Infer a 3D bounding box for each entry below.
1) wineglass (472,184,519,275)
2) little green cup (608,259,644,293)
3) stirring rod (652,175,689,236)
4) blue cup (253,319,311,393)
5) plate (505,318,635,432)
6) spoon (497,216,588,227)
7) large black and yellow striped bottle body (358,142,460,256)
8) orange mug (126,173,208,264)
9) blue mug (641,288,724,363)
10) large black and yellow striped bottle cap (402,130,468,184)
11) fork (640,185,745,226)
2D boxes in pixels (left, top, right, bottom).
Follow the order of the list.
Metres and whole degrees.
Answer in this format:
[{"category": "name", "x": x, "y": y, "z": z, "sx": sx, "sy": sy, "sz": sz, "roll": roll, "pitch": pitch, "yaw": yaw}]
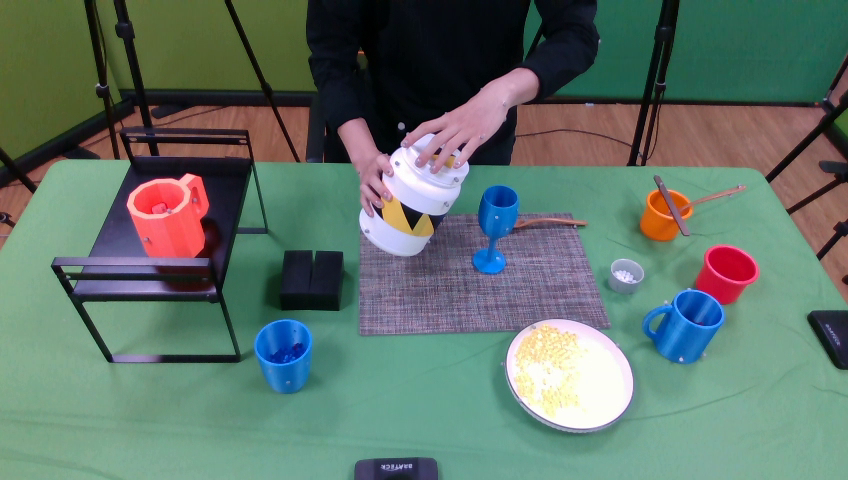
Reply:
[{"category": "wineglass", "x": 0.129, "y": -0.018, "z": 1.113, "sx": 0.074, "sy": 0.173, "sz": 0.073, "roll": 2, "pitch": 46, "yaw": -2}, {"category": "little green cup", "x": 0.379, "y": 0.070, "z": 1.147, "sx": 0.061, "sy": 0.039, "sz": 0.061, "roll": 3, "pitch": 46, "yaw": -3}, {"category": "stirring rod", "x": 0.491, "y": -0.072, "z": 1.211, "sx": 0.014, "sy": 0.006, "sz": 0.175, "roll": 0, "pitch": 46, "yaw": -7}, {"category": "blue cup", "x": -0.217, "y": 0.187, "z": 0.943, "sx": 0.093, "sy": 0.101, "sz": 0.092, "roll": 4, "pitch": 45, "yaw": -3}, {"category": "plate", "x": 0.235, "y": 0.221, "z": 0.991, "sx": 0.209, "sy": 0.038, "sz": 0.208, "roll": 2, "pitch": 45, "yaw": -2}, {"category": "spoon", "x": 0.245, "y": -0.039, "z": 1.247, "sx": 0.194, "sy": 0.022, "sz": 0.041, "roll": -1, "pitch": 25, "yaw": -6}, {"category": "large black and yellow striped bottle body", "x": -0.021, "y": -0.077, "z": 1.030, "sx": 0.131, "sy": 0.184, "sz": 0.130, "roll": 22, "pitch": 35, "yaw": -16}, {"category": "orange mug", "x": -0.371, "y": -0.040, "z": 0.902, "sx": 0.083, "sy": 0.101, "sz": 0.126, "roll": 18, "pitch": 52, "yaw": 13}, {"category": "blue mug", "x": 0.432, "y": 0.144, "z": 1.033, "sx": 0.116, "sy": 0.106, "sz": 0.082, "roll": 8, "pitch": 46, "yaw": 5}, {"category": "large black and yellow striped bottle cap", "x": 0.019, "y": -0.136, "z": 0.985, "sx": 0.115, "sy": 0.019, "sz": 0.114, "roll": 22, "pitch": 37, "yaw": -17}, {"category": "fork", "x": 0.534, "y": -0.069, "z": 1.215, "sx": 0.207, "sy": 0.019, "sz": 0.028, "roll": -26, "pitch": 27, "yaw": 33}]
